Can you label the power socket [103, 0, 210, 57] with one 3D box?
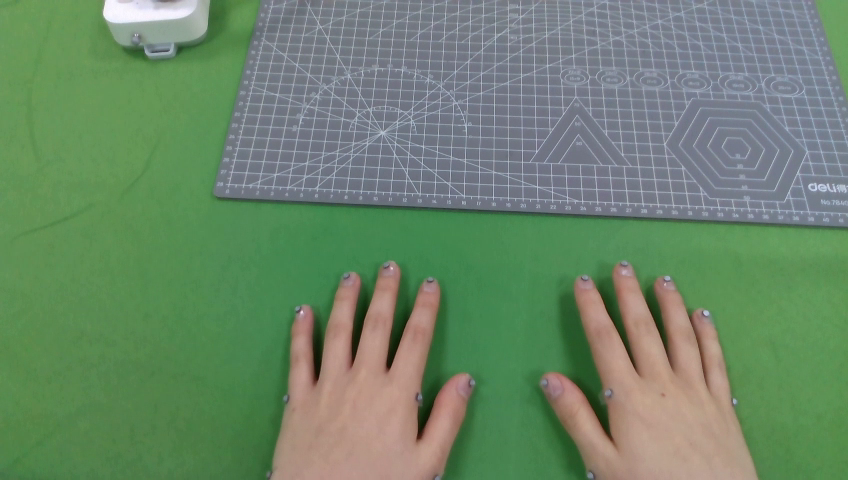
[{"bbox_3d":[-0.212,-0.248,0.502,0.072,0.033,0.224,-4,63,-3],"label":"power socket"}]
